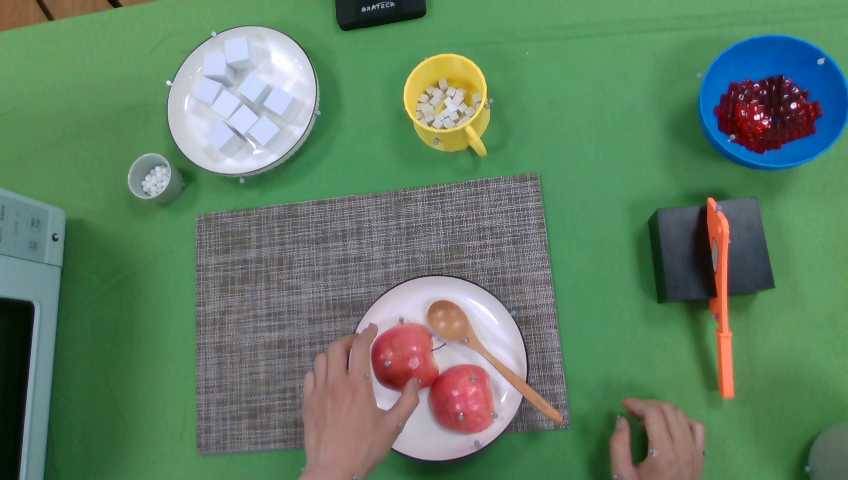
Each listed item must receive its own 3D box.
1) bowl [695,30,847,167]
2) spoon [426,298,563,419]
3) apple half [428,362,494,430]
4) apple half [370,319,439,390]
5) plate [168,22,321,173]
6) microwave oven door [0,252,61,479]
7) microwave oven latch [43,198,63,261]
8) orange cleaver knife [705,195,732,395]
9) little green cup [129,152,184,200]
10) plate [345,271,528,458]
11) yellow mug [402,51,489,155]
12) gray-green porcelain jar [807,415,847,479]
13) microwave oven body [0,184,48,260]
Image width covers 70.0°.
[{"bbox_3d":[0.373,-0.144,0.674,0.151,0.077,0.151,-2,80,9],"label":"bowl"},{"bbox_3d":[0.076,0.132,0.676,0.041,0.022,0.192,-44,63,-13],"label":"spoon"},{"bbox_3d":[0.040,0.176,0.680,0.081,0.033,0.081,-2,76,9],"label":"apple half"},{"bbox_3d":[-0.026,0.131,0.691,0.074,0.053,0.080,-9,79,11],"label":"apple half"},{"bbox_3d":[-0.233,-0.185,0.803,0.207,0.039,0.206,-2,79,9],"label":"plate"},{"bbox_3d":[-0.509,0.183,0.656,0.039,0.245,0.354,-4,79,9],"label":"microwave oven door"},{"bbox_3d":[-0.496,-0.013,0.794,0.030,0.029,0.079,-1,80,9],"label":"microwave oven latch"},{"bbox_3d":[0.312,0.059,0.644,0.012,0.077,0.212,-5,102,12],"label":"orange cleaver knife"},{"bbox_3d":[-0.352,-0.082,0.801,0.061,0.039,0.061,-1,80,8],"label":"little green cup"},{"bbox_3d":[0.014,0.141,0.698,0.209,0.038,0.208,-2,80,9],"label":"plate"},{"bbox_3d":[0.036,-0.158,0.739,0.100,0.064,0.130,-35,77,1],"label":"yellow mug"},{"bbox_3d":[0.437,0.221,0.572,0.105,0.127,0.105,-2,79,10],"label":"gray-green porcelain jar"},{"bbox_3d":[-0.653,0.150,0.691,0.325,0.261,0.440,-3,80,8],"label":"microwave oven body"}]
